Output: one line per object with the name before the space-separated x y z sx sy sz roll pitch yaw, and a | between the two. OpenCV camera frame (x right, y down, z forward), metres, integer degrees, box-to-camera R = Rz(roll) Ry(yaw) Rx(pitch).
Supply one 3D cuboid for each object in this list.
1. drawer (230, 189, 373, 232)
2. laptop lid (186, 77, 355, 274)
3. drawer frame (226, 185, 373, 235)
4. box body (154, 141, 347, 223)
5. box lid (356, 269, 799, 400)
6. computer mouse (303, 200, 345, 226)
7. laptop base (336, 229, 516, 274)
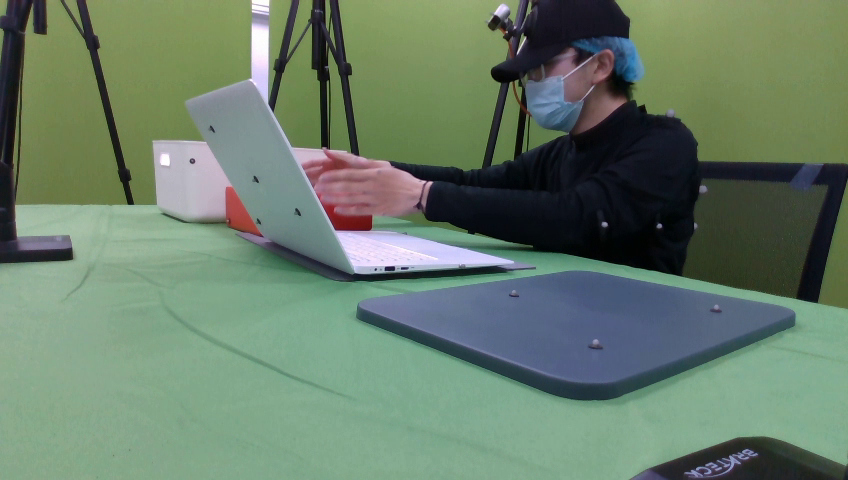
drawer | -0.232 -0.059 1.141 0.213 0.073 0.193 -4 9 -35
laptop lid | -0.211 -0.081 0.772 0.013 0.242 0.355 -35 25 -23
drawer frame | -0.236 -0.060 1.137 0.215 0.082 0.200 -4 9 -36
box body | -0.384 -0.131 1.346 0.366 0.160 0.253 -3 9 -36
box lid | 0.152 0.068 0.564 0.374 0.015 0.262 -4 10 -41
computer mouse | -0.194 -0.054 1.173 0.063 0.041 0.116 4 13 -24
laptop base | -0.066 0.014 0.877 0.237 0.023 0.352 2 6 -32
